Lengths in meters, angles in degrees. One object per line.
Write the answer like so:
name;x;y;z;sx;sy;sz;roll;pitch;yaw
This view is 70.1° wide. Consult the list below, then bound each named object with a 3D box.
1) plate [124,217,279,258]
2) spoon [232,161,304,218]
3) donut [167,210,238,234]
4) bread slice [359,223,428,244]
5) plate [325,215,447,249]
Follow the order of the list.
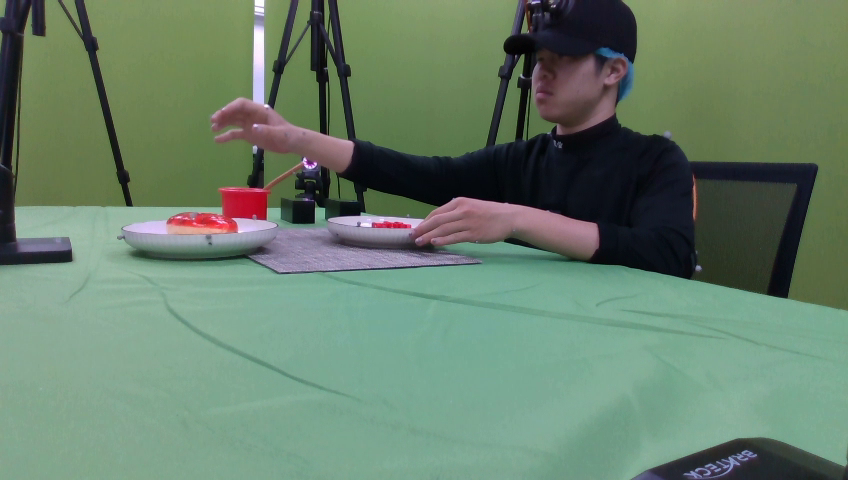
plate;-0.315;-0.004;0.871;0.208;0.039;0.207;1;8;0
spoon;-0.314;-0.096;1.192;0.194;0.022;0.041;-42;13;-5
donut;-0.321;-0.017;0.882;0.099;0.048;0.099;3;6;0
bread slice;-0.062;-0.012;1.034;0.105;0.019;0.131;1;10;-19
plate;-0.065;-0.015;1.034;0.209;0.038;0.209;3;8;0
